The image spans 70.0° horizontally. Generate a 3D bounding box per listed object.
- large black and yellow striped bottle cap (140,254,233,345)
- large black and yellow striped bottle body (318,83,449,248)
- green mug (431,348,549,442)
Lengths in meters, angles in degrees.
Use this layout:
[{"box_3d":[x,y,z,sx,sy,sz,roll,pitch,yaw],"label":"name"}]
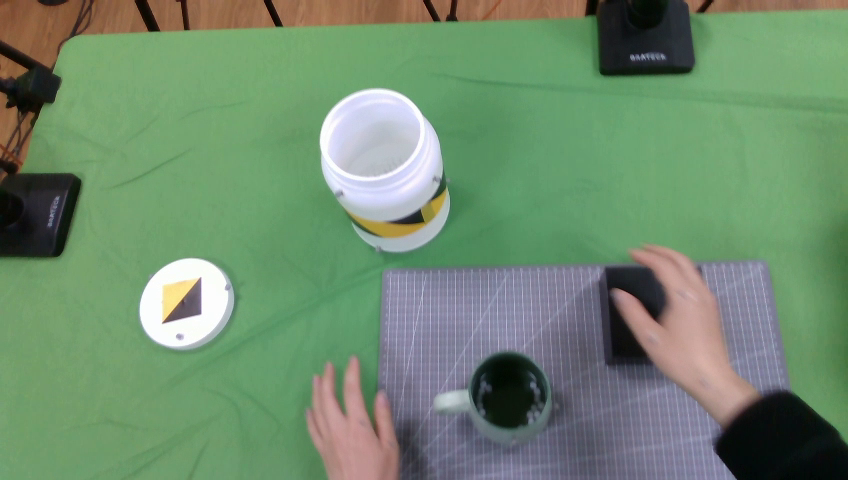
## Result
[{"box_3d":[-0.297,0.073,0.756,0.115,0.019,0.114,-2,69,6],"label":"large black and yellow striped bottle cap"},{"box_3d":[-0.043,-0.081,0.693,0.130,0.185,0.130,-2,69,6],"label":"large black and yellow striped bottle body"},{"box_3d":[0.069,0.163,0.630,0.125,0.106,0.092,-9,69,4],"label":"green mug"}]
